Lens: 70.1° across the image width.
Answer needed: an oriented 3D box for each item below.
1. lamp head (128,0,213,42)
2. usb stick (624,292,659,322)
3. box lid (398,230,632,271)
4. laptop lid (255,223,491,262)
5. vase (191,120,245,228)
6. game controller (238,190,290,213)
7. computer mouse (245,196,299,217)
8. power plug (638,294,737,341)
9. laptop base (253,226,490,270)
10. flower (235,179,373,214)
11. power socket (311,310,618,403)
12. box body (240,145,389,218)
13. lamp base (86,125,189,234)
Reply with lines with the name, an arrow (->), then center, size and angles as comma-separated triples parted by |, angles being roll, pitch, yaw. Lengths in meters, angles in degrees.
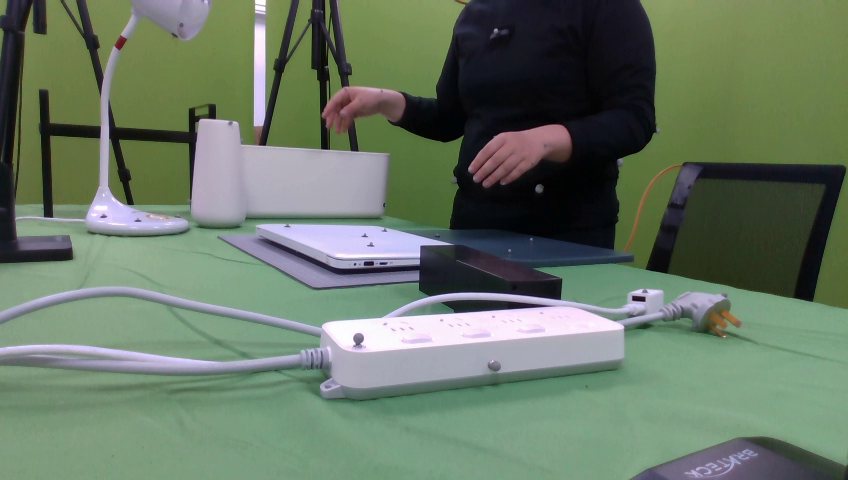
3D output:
lamp head -> -0.423, -0.394, 0.980 | 0.123, 0.112, 0.112 | 20, 7, -3
usb stick -> 0.211, 0.064, 0.581 | 0.021, 0.027, 0.059 | -1, -4, 35
box lid -> 0.140, 0.012, 1.044 | 0.265, 0.015, 0.369 | -1, 8, -32
laptop lid -> -0.093, 0.000, 0.911 | 0.243, 0.013, 0.355 | 1, 7, -30
vase -> -0.389, -0.124, 1.142 | 0.098, 0.200, 0.098 | 3, 9, 0
game controller -> -0.391, -0.094, 1.465 | 0.097, 0.051, 0.154 | -3, 8, -29
computer mouse -> -0.345, -0.077, 1.371 | 0.118, 0.041, 0.062 | -12, 17, -32
power plug -> 0.235, 0.077, 0.535 | 0.072, 0.035, 0.052 | -33, 40, -6
laptop base -> -0.096, 0.011, 0.911 | 0.237, 0.023, 0.352 | 3, 6, -32
flower -> -0.267, -0.090, 1.419 | 0.364, 0.038, 0.044 | 10, -43, -40
power socket -> 0.034, 0.074, 0.415 | 0.228, 0.032, 0.072 | -1, 7, -24
box body -> -0.297, -0.143, 1.474 | 0.366, 0.160, 0.253 | -1, 9, -30
lamp base -> -0.497, -0.105, 1.027 | 0.179, 0.180, 0.160 | 1, 7, 3
